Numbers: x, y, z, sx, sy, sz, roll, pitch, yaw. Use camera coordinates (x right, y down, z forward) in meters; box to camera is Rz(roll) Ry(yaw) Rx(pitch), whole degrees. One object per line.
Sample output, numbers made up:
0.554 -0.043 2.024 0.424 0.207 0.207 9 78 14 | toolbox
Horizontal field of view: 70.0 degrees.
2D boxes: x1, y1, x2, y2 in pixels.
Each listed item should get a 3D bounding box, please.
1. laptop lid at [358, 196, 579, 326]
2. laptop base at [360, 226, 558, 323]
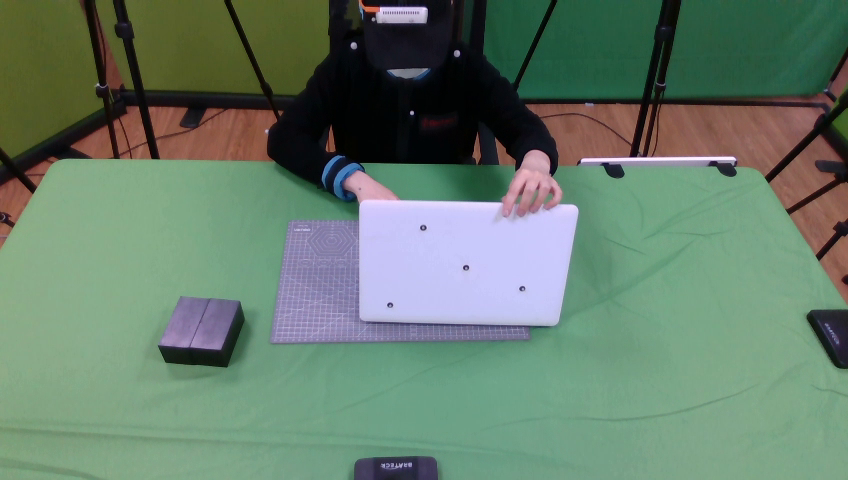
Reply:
0.068 0.041 1.004 0.357 0.242 0.013 3 26 -4 | laptop lid
0.061 0.063 1.145 0.354 0.023 0.234 2 43 -3 | laptop base
